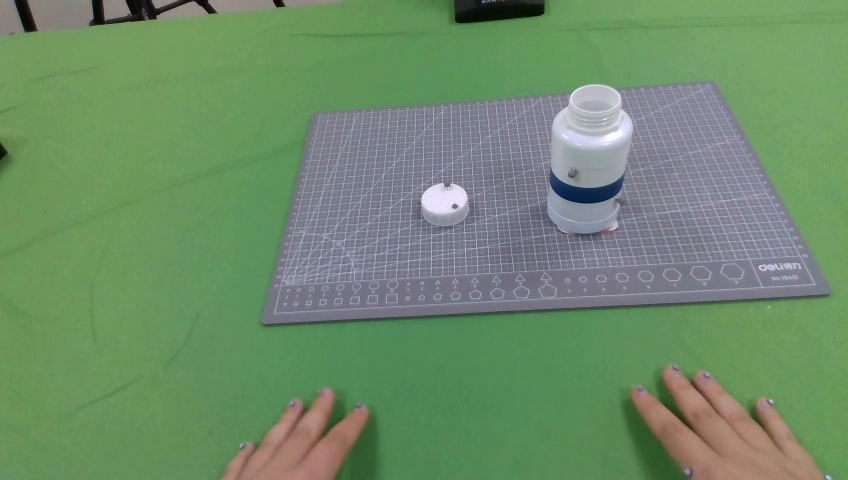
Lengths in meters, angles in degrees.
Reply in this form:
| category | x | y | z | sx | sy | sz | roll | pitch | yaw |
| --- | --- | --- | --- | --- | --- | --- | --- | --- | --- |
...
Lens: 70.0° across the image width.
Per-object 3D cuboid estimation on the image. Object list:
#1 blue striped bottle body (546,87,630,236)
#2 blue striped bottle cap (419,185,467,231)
| category | x | y | z | sx | sy | sz | roll | pitch | yaw |
| --- | --- | --- | --- | --- | --- | --- | --- | --- | --- |
| blue striped bottle body | 0.136 | -0.066 | 0.505 | 0.063 | 0.122 | 0.062 | -4 | 47 | 5 |
| blue striped bottle cap | 0.018 | -0.030 | 0.562 | 0.044 | 0.021 | 0.044 | -3 | 45 | 3 |
